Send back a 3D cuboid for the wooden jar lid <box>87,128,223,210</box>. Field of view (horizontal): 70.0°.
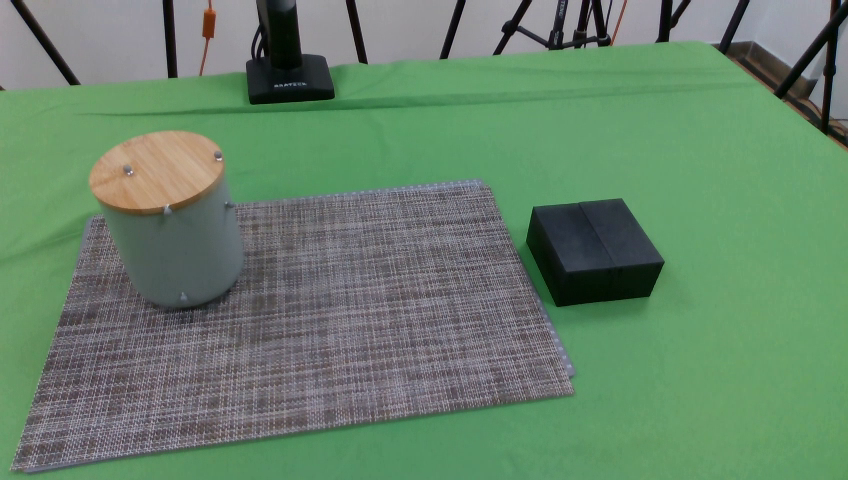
[{"bbox_3d":[-0.227,-0.058,0.519,0.108,0.021,0.107,3,45,-3],"label":"wooden jar lid"}]

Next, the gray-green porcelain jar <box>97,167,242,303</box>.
[{"bbox_3d":[-0.229,-0.013,0.562,0.106,0.127,0.105,2,43,-1],"label":"gray-green porcelain jar"}]
